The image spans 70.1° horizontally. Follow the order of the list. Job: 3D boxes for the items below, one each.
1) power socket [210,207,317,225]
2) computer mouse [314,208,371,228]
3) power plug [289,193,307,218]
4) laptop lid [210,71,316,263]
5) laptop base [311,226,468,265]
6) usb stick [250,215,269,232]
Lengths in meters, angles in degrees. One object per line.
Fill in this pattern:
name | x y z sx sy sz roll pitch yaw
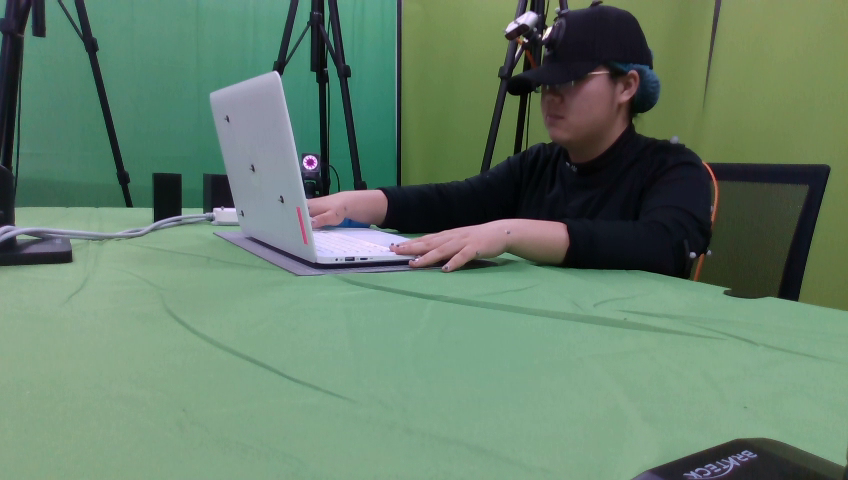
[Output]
power socket | -0.334 -0.051 1.280 0.228 0.032 0.072 -1 8 -28
computer mouse | -0.173 -0.046 1.284 0.118 0.041 0.062 -7 13 -29
power plug | -0.281 -0.076 1.340 0.035 0.052 0.072 3 6 -17
laptop lid | -0.240 -0.104 0.861 0.013 0.241 0.355 -16 17 -29
laptop base | -0.123 0.007 0.951 0.237 0.023 0.352 2 6 -32
usb stick | -0.290 -0.028 1.070 0.021 0.027 0.059 0 11 -31
